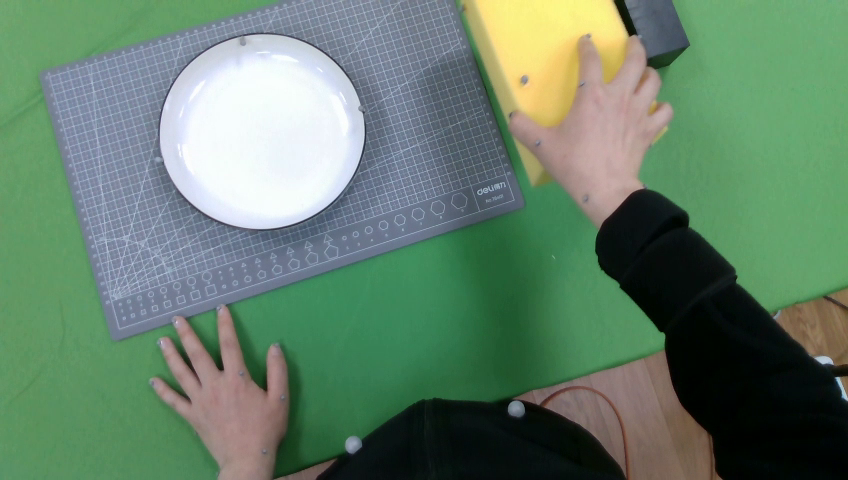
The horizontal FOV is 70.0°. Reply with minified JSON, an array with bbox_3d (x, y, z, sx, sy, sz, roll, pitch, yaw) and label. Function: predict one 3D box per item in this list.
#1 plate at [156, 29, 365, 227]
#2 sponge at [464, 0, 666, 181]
[{"bbox_3d":[-0.166,-0.113,0.631,0.209,0.038,0.208,0,83,-3],"label":"plate"},{"bbox_3d":[0.125,-0.173,0.568,0.118,0.061,0.206,-19,81,-1],"label":"sponge"}]
